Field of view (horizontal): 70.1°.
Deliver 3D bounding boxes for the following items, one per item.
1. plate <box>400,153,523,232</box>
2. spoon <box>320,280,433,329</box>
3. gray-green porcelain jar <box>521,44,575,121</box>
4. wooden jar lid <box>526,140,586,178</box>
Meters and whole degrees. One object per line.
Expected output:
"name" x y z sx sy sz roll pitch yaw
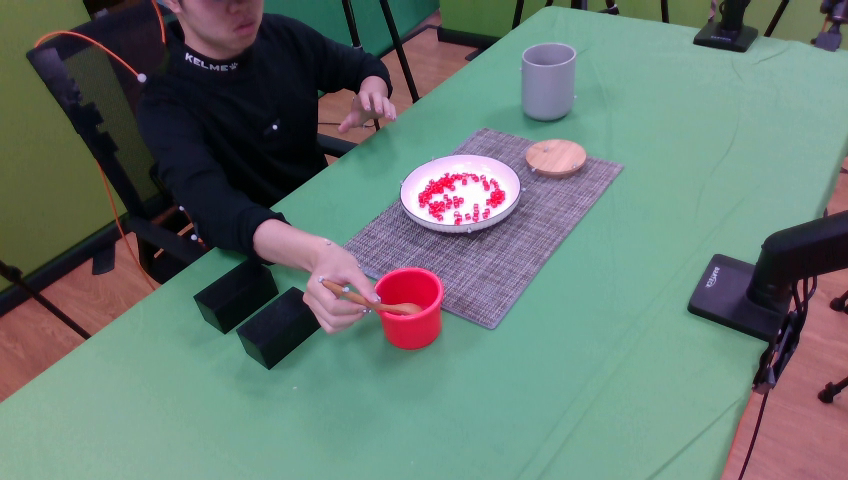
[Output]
"plate" 0.065 -0.078 1.034 0.207 0.039 0.206 -4 41 4
"spoon" -0.055 0.083 0.767 0.195 0.021 0.041 22 17 -42
"gray-green porcelain jar" 0.249 -0.313 1.219 0.106 0.127 0.105 -4 41 4
"wooden jar lid" 0.240 -0.147 1.103 0.108 0.021 0.108 -4 42 4
